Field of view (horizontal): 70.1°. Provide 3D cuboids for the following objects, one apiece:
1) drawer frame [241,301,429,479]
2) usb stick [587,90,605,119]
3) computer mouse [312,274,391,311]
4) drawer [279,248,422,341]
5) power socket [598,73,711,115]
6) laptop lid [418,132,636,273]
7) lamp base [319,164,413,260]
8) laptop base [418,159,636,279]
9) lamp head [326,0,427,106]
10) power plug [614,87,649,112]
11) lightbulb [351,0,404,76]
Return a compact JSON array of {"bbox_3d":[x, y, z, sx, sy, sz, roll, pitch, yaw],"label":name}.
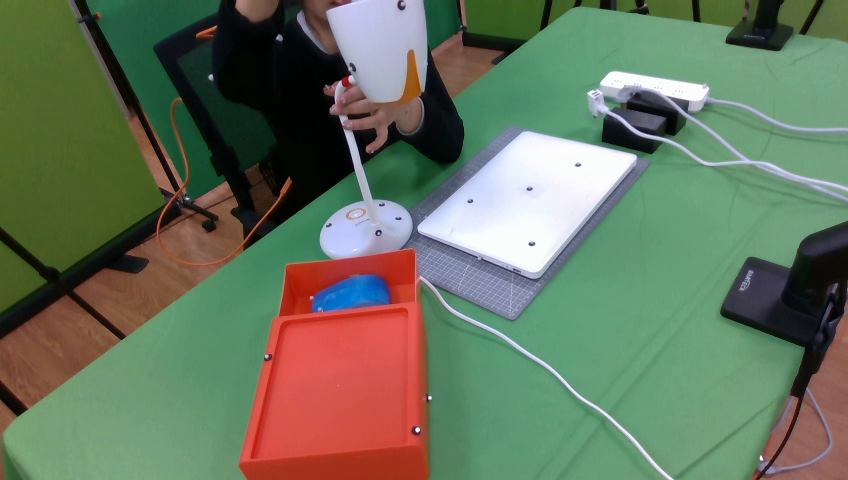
[{"bbox_3d":[-0.096,0.183,0.741,0.202,0.083,0.212,-6,40,3],"label":"drawer frame"},{"bbox_3d":[0.334,-0.258,1.170,0.021,0.059,0.027,-29,44,-6],"label":"usb stick"},{"bbox_3d":[-0.107,0.087,0.885,0.117,0.041,0.062,-14,40,0],"label":"computer mouse"},{"bbox_3d":[-0.100,0.114,0.828,0.194,0.073,0.210,-7,40,1],"label":"drawer"},{"bbox_3d":[0.469,-0.304,1.249,0.225,0.033,0.072,20,49,30],"label":"power socket"},{"bbox_3d":[0.181,-0.084,1.036,0.239,0.013,0.358,22,49,35],"label":"laptop lid"},{"bbox_3d":[-0.102,-0.068,0.962,0.161,0.181,0.177,-30,46,-21],"label":"lamp base"},{"bbox_3d":[0.185,-0.074,1.042,0.233,0.023,0.355,19,48,35],"label":"laptop base"},{"bbox_3d":[-0.048,-0.219,0.709,0.112,0.123,0.112,-9,24,4],"label":"lamp head"},{"bbox_3d":[0.406,-0.275,1.193,0.035,0.053,0.072,-15,24,-15],"label":"power plug"},{"bbox_3d":[-0.048,-0.244,0.697,0.059,0.108,0.059,-11,20,5],"label":"lightbulb"}]
